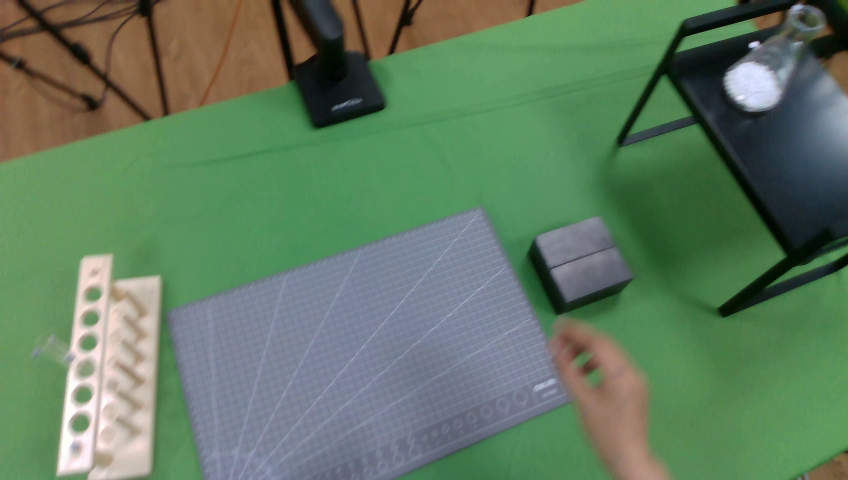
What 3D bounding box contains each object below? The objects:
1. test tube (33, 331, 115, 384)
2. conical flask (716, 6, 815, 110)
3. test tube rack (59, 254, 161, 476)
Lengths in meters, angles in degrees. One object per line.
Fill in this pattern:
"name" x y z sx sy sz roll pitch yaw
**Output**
"test tube" -0.376 0.132 0.661 0.017 0.151 0.017 0 62 0
"conical flask" 0.411 -0.219 0.722 0.075 0.122 0.074 2 63 -3
"test tube rack" -0.362 0.142 0.712 0.067 0.086 0.240 -6 64 -7
